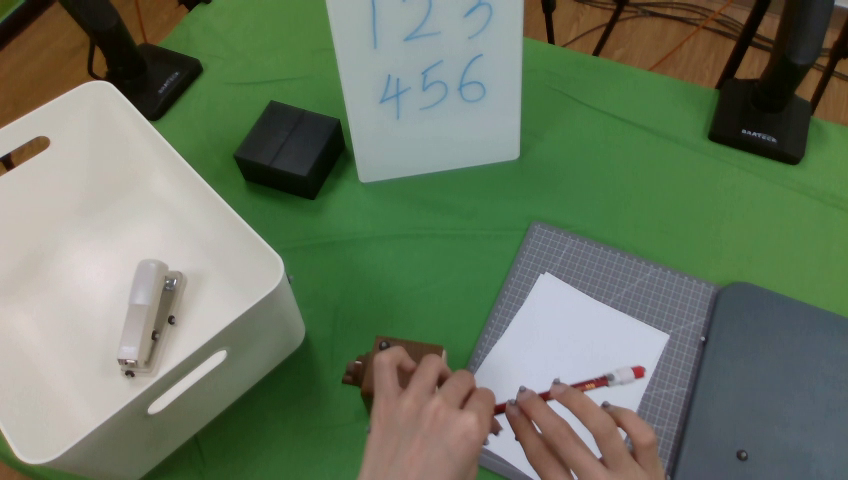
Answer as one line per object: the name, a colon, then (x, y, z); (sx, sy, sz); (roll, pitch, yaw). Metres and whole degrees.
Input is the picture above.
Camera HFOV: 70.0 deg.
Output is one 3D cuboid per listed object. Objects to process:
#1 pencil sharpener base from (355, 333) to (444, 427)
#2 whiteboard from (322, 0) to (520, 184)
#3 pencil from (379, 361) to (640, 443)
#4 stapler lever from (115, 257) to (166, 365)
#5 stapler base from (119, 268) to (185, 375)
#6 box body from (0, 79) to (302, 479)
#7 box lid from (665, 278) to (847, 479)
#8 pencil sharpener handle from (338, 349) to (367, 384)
pencil sharpener base: (-0.023, 0.142, 0.599); (0.076, 0.108, 0.061); (9, 60, 7)
whiteboard: (-0.005, -0.250, 0.752); (0.217, 0.308, 0.142); (-9, 40, -3)
pencil: (0.062, 0.115, 0.427); (0.194, 0.012, 0.012); (-14, 59, -7)
stapler lever: (-0.308, 0.074, 0.657); (0.027, 0.040, 0.117); (2, 62, 5)
stapler base: (-0.307, 0.085, 0.681); (0.041, 0.024, 0.129); (2, 61, 5)
box body: (-0.331, 0.035, 0.637); (0.254, 0.162, 0.361); (-41, 66, -20)
box lid: (0.385, 0.224, 0.597); (0.262, 0.015, 0.369); (21, 62, 12)
pencil sharpener handle: (-0.073, 0.128, 0.594); (0.030, 0.068, 0.035); (9, 60, 8)
